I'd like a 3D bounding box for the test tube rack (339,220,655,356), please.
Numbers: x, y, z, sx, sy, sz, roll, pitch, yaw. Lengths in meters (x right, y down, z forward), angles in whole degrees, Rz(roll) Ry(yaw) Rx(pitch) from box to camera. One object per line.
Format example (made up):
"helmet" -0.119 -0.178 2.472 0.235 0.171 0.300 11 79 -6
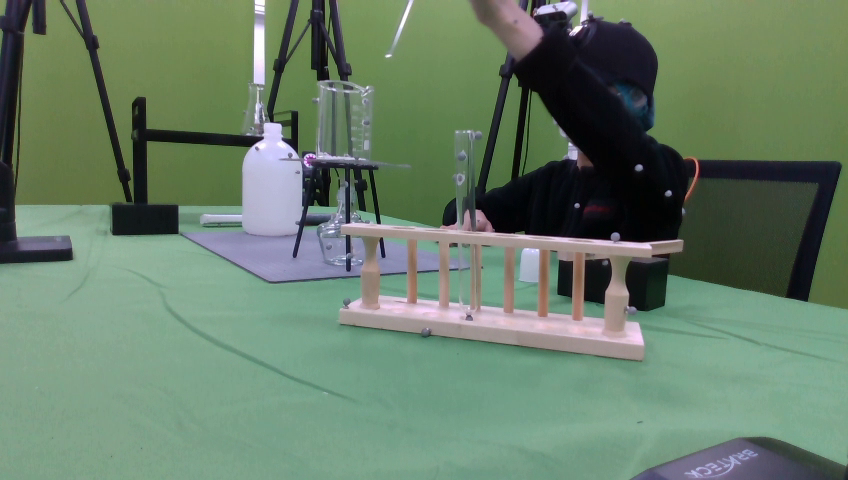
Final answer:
"test tube rack" 0.056 0.032 0.495 0.242 0.085 0.067 4 7 15

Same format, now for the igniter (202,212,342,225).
"igniter" -0.298 -0.044 1.216 0.278 0.025 0.057 -3 -2 -32

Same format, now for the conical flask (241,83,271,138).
"conical flask" -0.384 -0.297 1.393 0.075 0.122 0.075 2 7 0

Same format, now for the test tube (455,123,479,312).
"test tube" 0.034 -0.016 0.476 0.017 0.150 0.017 -2 10 1

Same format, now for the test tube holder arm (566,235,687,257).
"test tube holder arm" 0.215 0.006 0.630 0.179 0.015 0.013 -3 9 -31

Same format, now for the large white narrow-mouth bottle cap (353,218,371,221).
"large white narrow-mouth bottle cap" -0.120 -0.029 1.184 0.038 0.024 0.037 2 8 0

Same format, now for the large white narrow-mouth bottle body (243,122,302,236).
"large white narrow-mouth bottle body" -0.264 -0.109 1.061 0.102 0.194 0.102 2 8 0

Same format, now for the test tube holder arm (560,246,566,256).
"test tube holder arm" 0.173 0.007 0.612 0.088 0.015 0.010 -3 9 -30

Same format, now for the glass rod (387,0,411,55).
"glass rod" -0.007 -0.311 0.704 0.008 0.199 0.008 20 5 -1

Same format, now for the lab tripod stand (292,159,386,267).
"lab tripod stand" -0.105 -0.039 0.798 0.148 0.131 0.148 2 5 0

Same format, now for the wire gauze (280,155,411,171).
"wire gauze" -0.103 -0.103 0.785 0.121 0.011 0.126 11 8 42

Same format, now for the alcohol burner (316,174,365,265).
"alcohol burner" -0.102 -0.028 0.790 0.078 0.119 0.078 0 6 0

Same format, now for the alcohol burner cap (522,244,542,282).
"alcohol burner cap" 0.137 0.026 0.740 0.034 0.048 0.034 1 6 0

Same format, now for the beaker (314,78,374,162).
"beaker" -0.101 -0.151 0.774 0.074 0.100 0.083 -2 8 -40
